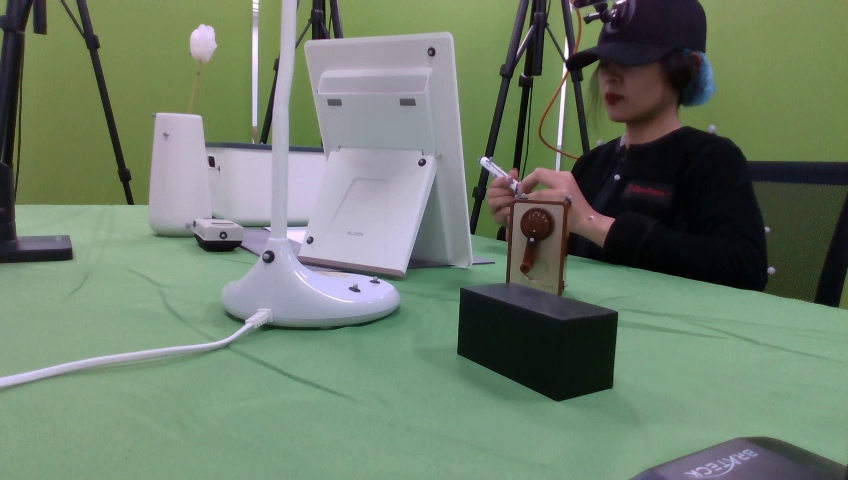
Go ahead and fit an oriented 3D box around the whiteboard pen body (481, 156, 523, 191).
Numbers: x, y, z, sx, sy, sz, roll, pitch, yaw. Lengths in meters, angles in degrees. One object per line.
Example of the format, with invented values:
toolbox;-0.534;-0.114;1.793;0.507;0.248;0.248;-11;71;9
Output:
whiteboard pen body;0.141;-0.111;1.052;0.017;0.017;0.140;-2;33;-33

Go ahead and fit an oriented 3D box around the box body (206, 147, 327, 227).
box body;-0.276;-0.122;1.320;0.366;0.160;0.253;-2;9;-30

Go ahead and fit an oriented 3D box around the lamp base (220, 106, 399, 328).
lamp base;-0.102;-0.023;0.531;0.160;0.180;0.179;4;10;10

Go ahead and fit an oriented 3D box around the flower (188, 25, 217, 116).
flower;-0.394;-0.189;1.012;0.044;0.361;0.038;-1;-13;28

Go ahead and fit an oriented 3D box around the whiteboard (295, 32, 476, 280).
whiteboard;-0.076;-0.084;0.747;0.216;0.305;0.144;7;28;29

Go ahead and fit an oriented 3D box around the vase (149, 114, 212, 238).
vase;-0.405;-0.106;1.005;0.098;0.200;0.098;2;6;0

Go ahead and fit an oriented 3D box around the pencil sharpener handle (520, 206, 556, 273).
pencil sharpener handle;0.111;0.000;0.613;0.036;0.067;0.031;13;10;13

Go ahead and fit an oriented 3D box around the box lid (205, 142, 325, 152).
box lid;-0.270;-0.196;1.311;0.373;0.015;0.262;-2;9;-30

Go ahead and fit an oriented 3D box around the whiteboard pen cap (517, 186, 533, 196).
whiteboard pen cap;0.169;-0.082;1.010;0.018;0.018;0.033;0;11;-18

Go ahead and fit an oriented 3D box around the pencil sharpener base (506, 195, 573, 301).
pencil sharpener base;0.127;0.007;0.663;0.061;0.107;0.077;5;8;15

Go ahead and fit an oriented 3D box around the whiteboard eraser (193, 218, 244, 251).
whiteboard eraser;-0.307;-0.010;0.900;0.056;0.042;0.112;-4;10;-28
